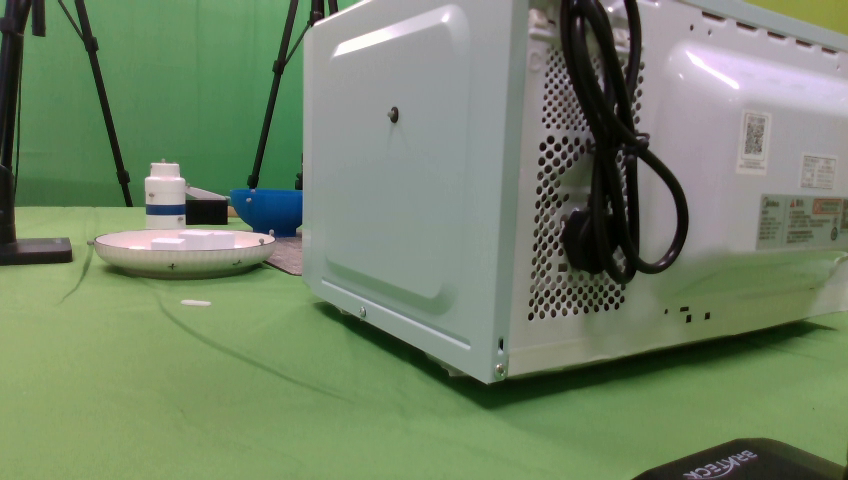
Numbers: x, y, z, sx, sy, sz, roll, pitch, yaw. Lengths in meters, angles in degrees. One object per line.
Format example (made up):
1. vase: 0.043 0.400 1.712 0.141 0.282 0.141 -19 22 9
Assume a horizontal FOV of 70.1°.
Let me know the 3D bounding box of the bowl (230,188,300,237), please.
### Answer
1. bowl: -0.264 -0.048 1.065 0.151 0.077 0.151 3 8 0

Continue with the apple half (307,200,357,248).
1. apple half: -0.136 -0.024 0.942 0.053 0.074 0.081 15 10 38

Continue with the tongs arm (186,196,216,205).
1. tongs arm: -0.404 -0.081 1.479 0.385 0.026 0.050 3 8 -2

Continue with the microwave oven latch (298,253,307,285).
1. microwave oven latch: -0.081 0.027 0.583 0.079 0.029 0.030 -2 7 -33

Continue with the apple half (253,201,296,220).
1. apple half: -0.264 -0.053 1.067 0.081 0.033 0.081 1 8 0

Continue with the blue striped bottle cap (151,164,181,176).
1. blue striped bottle cap: -0.428 -0.116 1.002 0.044 0.020 0.044 1 6 0

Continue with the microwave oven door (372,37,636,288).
1. microwave oven door: 0.110 -0.080 0.686 0.358 0.243 0.039 -2 9 -33

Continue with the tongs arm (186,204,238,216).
1. tongs arm: -0.396 -0.067 1.399 0.389 0.028 0.028 1 5 -15

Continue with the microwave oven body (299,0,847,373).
1. microwave oven body: 0.151 -0.055 0.542 0.444 0.260 0.324 -2 7 -33

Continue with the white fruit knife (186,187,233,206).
1. white fruit knife: -0.413 -0.081 1.270 0.208 0.027 0.016 18 13 -42

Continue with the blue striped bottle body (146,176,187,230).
1. blue striped bottle body: -0.430 -0.065 1.010 0.063 0.120 0.063 2 7 0

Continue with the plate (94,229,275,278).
1. plate: -0.291 0.016 0.750 0.208 0.039 0.207 2 7 0
